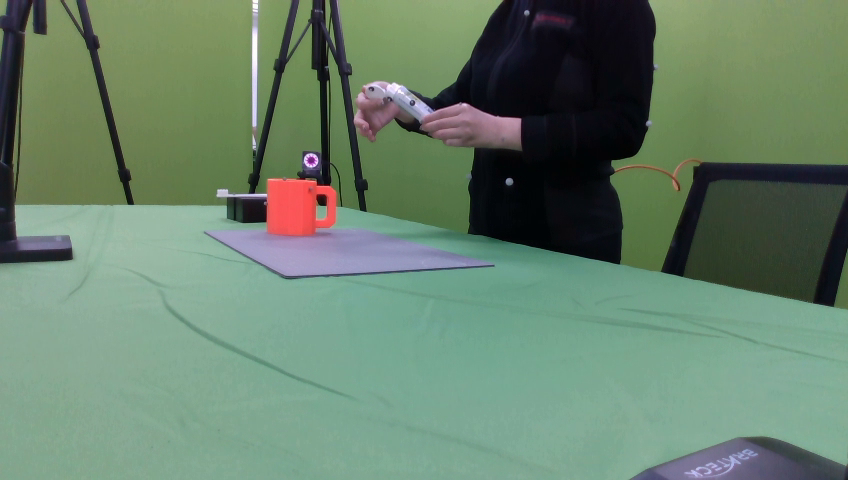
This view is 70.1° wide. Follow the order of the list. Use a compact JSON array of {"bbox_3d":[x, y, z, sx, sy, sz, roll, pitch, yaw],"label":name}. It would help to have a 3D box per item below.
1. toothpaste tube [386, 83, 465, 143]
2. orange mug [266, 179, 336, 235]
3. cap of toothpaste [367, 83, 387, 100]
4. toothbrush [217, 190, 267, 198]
[{"bbox_3d":[0.000,-0.224,1.067,0.165,0.034,0.055,36,32,2],"label":"toothpaste tube"},{"bbox_3d":[-0.222,-0.062,1.094,0.127,0.101,0.083,-5,10,-22],"label":"orange mug"},{"bbox_3d":[-0.082,-0.261,1.057,0.037,0.011,0.037,6,-33,5],"label":"cap of toothpaste"},{"bbox_3d":[-0.343,-0.096,1.282,0.183,0.016,0.014,-1,4,-27],"label":"toothbrush"}]
